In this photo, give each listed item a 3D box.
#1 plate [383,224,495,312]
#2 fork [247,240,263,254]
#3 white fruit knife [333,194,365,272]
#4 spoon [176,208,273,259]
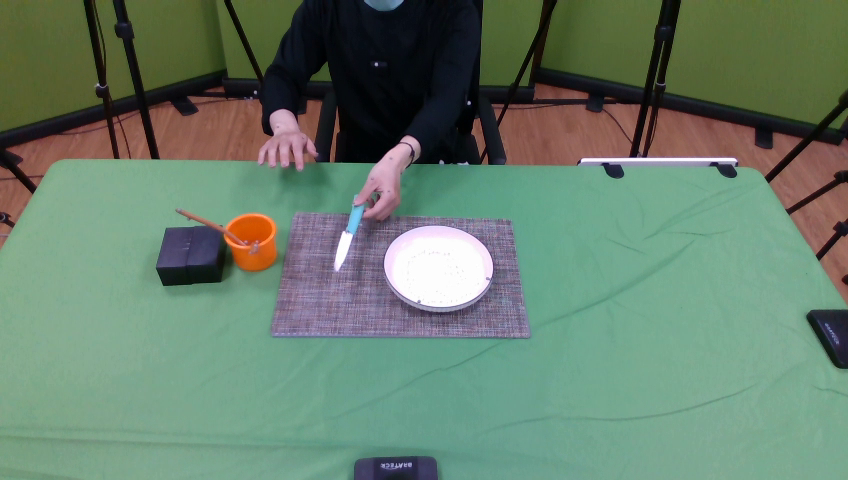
[{"bbox_3d":[0.026,0.055,1.128,0.209,0.038,0.208,2,46,-2],"label":"plate"},{"bbox_3d":[-0.301,0.011,1.075,0.028,0.018,0.207,3,0,-15],"label":"fork"},{"bbox_3d":[-0.140,-0.016,1.137,0.027,0.016,0.206,2,46,10],"label":"white fruit knife"},{"bbox_3d":[-0.355,-0.011,1.088,0.041,0.195,0.021,21,77,54],"label":"spoon"}]
